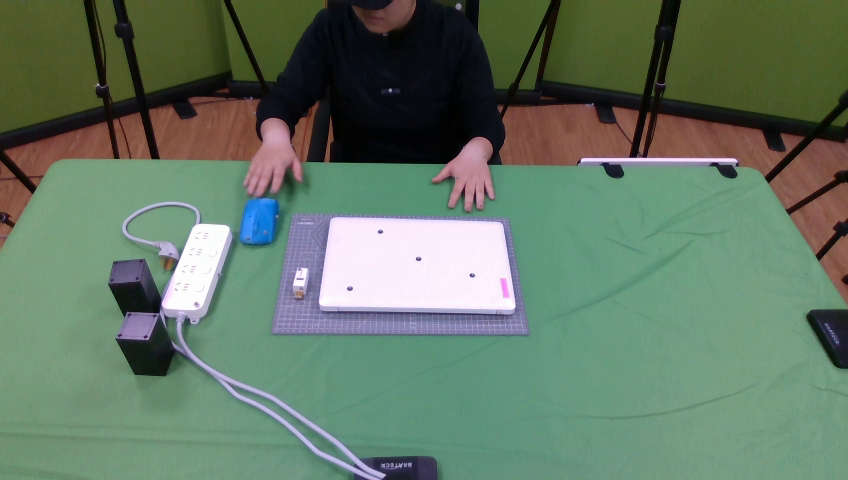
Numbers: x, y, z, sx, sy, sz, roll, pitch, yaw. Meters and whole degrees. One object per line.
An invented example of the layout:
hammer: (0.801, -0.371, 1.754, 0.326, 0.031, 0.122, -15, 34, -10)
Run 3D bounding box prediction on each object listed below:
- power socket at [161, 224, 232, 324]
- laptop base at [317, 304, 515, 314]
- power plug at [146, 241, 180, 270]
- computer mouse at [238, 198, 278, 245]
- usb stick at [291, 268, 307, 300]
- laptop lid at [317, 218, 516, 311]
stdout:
power socket: (-0.412, 0.053, 1.106, 0.072, 0.033, 0.225, 4, 46, -1)
laptop base: (-0.014, 0.049, 1.150, 0.354, 0.023, 0.234, 1, 42, -3)
power plug: (-0.488, 0.030, 1.131, 0.072, 0.035, 0.052, -1, 65, 27)
computer mouse: (-0.328, -0.040, 1.200, 0.063, 0.041, 0.116, 4, 50, -4)
usb stick: (-0.227, 0.081, 1.094, 0.021, 0.027, 0.059, 5, 48, -3)
laptop lid: (-0.013, 0.040, 1.143, 0.357, 0.013, 0.240, 3, 43, -2)
